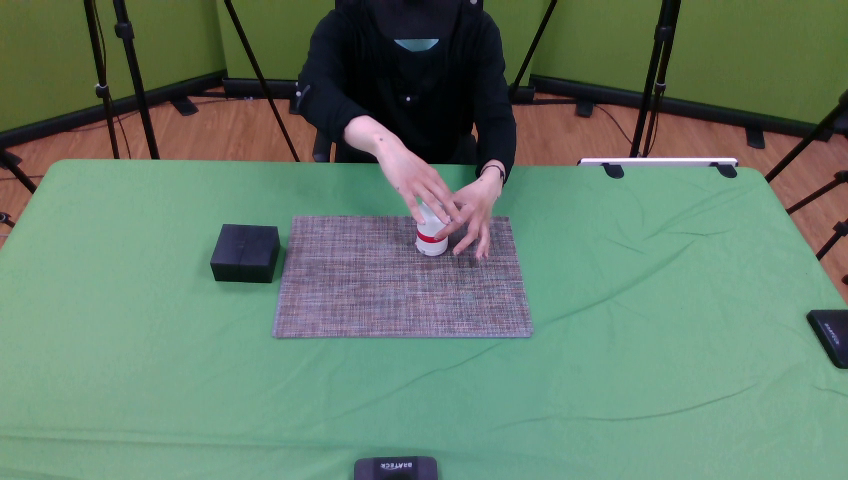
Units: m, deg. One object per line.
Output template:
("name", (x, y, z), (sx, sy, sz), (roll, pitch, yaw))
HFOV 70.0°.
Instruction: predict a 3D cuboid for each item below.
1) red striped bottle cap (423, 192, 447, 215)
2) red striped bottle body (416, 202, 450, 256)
("red striped bottle cap", (0.019, -0.068, 1.113), (0.044, 0.018, 0.044), (-3, 49, 4))
("red striped bottle body", (0.017, -0.031, 1.151), (0.063, 0.120, 0.062), (0, 47, 0))
